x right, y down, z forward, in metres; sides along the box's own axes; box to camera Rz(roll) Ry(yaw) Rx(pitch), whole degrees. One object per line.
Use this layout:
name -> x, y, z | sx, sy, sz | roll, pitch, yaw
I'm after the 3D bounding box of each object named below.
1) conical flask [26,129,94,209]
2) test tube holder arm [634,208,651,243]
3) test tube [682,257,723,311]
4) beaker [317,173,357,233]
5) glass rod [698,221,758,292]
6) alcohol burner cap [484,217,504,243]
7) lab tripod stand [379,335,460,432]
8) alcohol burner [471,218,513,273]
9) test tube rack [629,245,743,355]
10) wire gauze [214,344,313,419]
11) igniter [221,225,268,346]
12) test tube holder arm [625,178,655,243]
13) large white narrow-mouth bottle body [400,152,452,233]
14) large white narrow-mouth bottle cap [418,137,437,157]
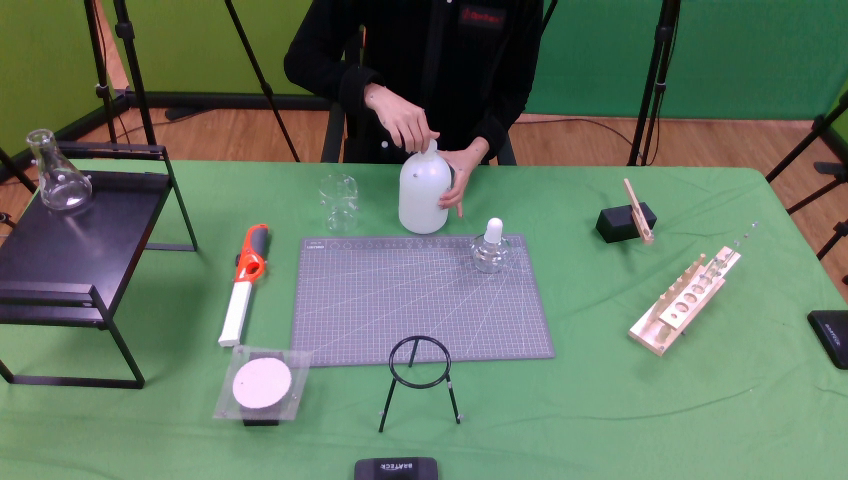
conical flask -> -0.575, -0.113, 0.946 | 0.075, 0.122, 0.075 | 2, 46, -2
test tube holder arm -> 0.428, -0.030, 1.189 | 0.010, 0.015, 0.087 | 1, 47, -2
test tube -> 0.475, 0.080, 1.037 | 0.017, 0.151, 0.017 | 1, 50, -1
beaker -> -0.166, -0.070, 1.198 | 0.083, 0.101, 0.074 | 25, 50, 18
glass rod -> 0.527, 0.035, 1.059 | 0.008, 0.200, 0.008 | 5, 49, -6
alcohol burner cap -> 0.130, -0.021, 1.107 | 0.034, 0.048, 0.033 | 4, 40, -3
lab tripod stand -> -0.011, 0.214, 0.911 | 0.148, 0.132, 0.147 | 1, 45, 0
alcohol burner -> 0.128, 0.005, 1.132 | 0.078, 0.120, 0.077 | 0, 47, 0
test tube rack -> 0.474, 0.095, 1.091 | 0.242, 0.085, 0.066 | -34, 56, -31
wire gauze -> -0.241, 0.213, 0.916 | 0.121, 0.011, 0.124 | 5, 46, 1
igniter -> -0.323, 0.072, 1.100 | 0.057, 0.025, 0.274 | -6, 45, 5
test tube holder arm -> 0.433, -0.062, 1.220 | 0.013, 0.015, 0.177 | 1, 47, -3
large white narrow-mouth bottle body -> 0.004, -0.110, 1.183 | 0.102, 0.195, 0.101 | 2, 47, -2
large white narrow-mouth bottle cap -> 0.007, -0.171, 1.117 | 0.038, 0.024, 0.037 | 2, 47, -2
